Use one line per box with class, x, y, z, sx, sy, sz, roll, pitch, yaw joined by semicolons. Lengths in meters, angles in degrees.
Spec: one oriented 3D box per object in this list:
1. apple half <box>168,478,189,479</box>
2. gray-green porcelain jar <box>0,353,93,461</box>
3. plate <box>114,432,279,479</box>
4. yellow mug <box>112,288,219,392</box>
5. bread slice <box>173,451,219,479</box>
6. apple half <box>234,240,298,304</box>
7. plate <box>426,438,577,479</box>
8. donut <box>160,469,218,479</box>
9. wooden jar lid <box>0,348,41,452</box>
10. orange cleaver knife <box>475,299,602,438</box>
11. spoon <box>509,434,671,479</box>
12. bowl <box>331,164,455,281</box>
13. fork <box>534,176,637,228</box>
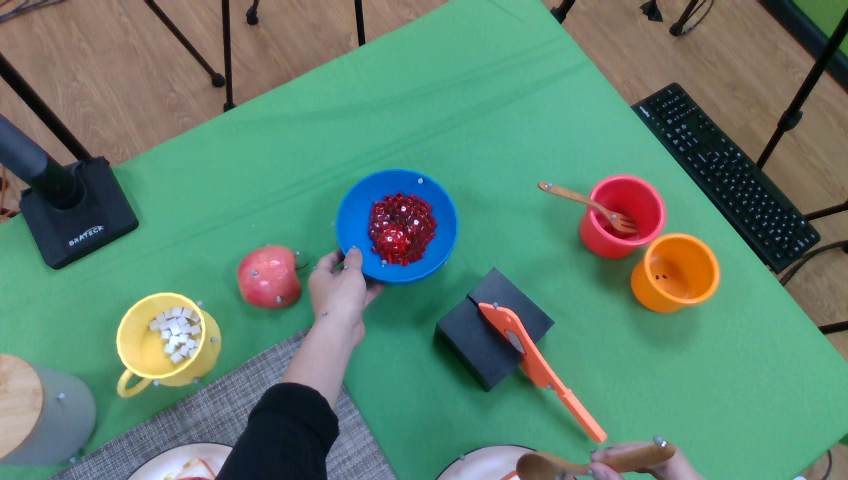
apple half;-0.252;0.280;0.601;0.081;0.033;0.081;-1;71;4
gray-green porcelain jar;-0.431;0.182;0.653;0.106;0.127;0.105;1;69;-2
plate;-0.248;0.317;0.656;0.208;0.039;0.206;1;70;-3
yellow mug;-0.312;0.124;0.712;0.099;0.064;0.130;34;73;9
bread slice;-0.245;0.314;0.659;0.134;0.018;0.107;39;74;11
apple half;-0.200;0.036;0.756;0.075;0.053;0.080;-8;71;-3
plate;0.087;0.329;0.673;0.209;0.038;0.207;1;70;-2
donut;-0.251;0.292;0.635;0.099;0.048;0.098;1;71;-2
wooden jar lid;-0.430;0.160;0.592;0.108;0.021;0.107;1;67;-3
orange cleaver knife;0.133;0.150;0.716;0.012;0.077;0.212;-41;99;-23
spoon;0.121;0.171;0.467;0.021;0.194;0.041;-40;86;-30
bowl;-0.038;-0.012;0.768;0.151;0.077;0.150;1;70;-3
fork;0.206;-0.047;0.755;0.209;0.018;0.028;18;61;-41
